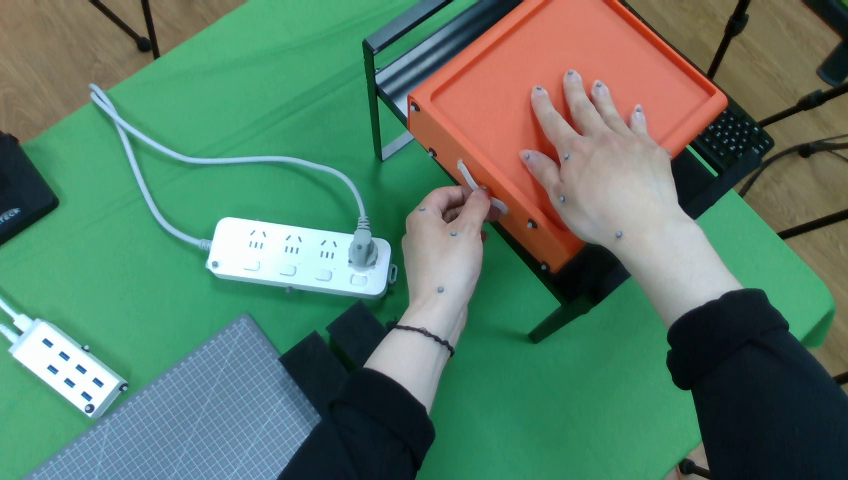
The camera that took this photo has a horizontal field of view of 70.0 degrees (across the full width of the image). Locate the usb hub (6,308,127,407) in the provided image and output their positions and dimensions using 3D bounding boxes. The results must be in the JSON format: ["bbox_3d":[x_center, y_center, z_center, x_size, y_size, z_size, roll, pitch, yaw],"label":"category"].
[{"bbox_3d":[-0.402,0.132,0.682,0.125,0.025,0.049,34,77,7],"label":"usb hub"}]

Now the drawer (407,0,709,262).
[{"bbox_3d":[0.123,-0.120,0.562,0.211,0.073,0.194,-42,80,-13],"label":"drawer"}]

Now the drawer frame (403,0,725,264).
[{"bbox_3d":[0.123,-0.122,0.562,0.213,0.083,0.201,-42,80,-13],"label":"drawer frame"}]

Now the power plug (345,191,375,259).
[{"bbox_3d":[-0.068,-0.013,0.715,0.035,0.053,0.072,20,73,4],"label":"power plug"}]

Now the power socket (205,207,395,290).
[{"bbox_3d":[-0.148,0.010,0.724,0.227,0.033,0.072,8,74,0],"label":"power socket"}]
